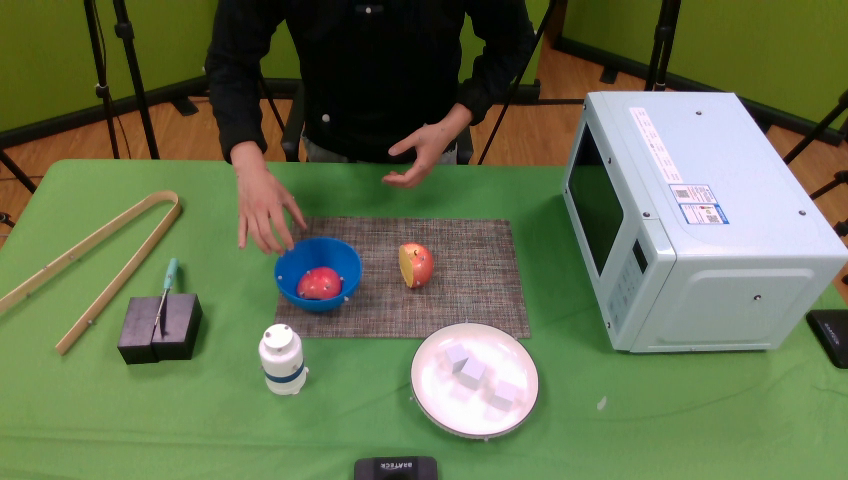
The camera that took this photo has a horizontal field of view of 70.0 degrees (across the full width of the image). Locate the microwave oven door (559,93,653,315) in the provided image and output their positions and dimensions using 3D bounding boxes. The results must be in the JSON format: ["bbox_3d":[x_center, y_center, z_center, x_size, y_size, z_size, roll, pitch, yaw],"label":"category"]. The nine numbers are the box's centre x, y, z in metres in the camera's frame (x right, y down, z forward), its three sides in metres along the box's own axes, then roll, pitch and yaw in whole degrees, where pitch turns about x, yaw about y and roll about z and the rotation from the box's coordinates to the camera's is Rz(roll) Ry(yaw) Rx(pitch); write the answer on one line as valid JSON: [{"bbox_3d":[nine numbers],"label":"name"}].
[{"bbox_3d":[0.327,-0.074,1.123,0.039,0.245,0.353,-1,46,-5],"label":"microwave oven door"}]

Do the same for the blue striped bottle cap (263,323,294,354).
[{"bbox_3d":[-0.217,0.146,0.900,0.044,0.021,0.044,1,46,-1],"label":"blue striped bottle cap"}]

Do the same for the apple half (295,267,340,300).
[{"bbox_3d":[-0.187,0.070,1.067,0.081,0.033,0.081,3,47,-3],"label":"apple half"}]

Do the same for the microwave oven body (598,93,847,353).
[{"bbox_3d":[0.475,-0.041,1.109,0.326,0.261,0.438,-1,45,-4],"label":"microwave oven body"}]

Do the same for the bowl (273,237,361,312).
[{"bbox_3d":[-0.186,0.075,1.070,0.151,0.077,0.150,3,45,-3],"label":"bowl"}]

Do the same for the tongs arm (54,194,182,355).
[{"bbox_3d":[-0.543,0.048,1.107,0.028,0.028,0.385,11,46,10],"label":"tongs arm"}]

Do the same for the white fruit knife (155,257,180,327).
[{"bbox_3d":[-0.440,0.085,1.037,0.016,0.027,0.206,11,26,-19],"label":"white fruit knife"}]

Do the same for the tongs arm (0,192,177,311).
[{"bbox_3d":[-0.618,0.019,1.124,0.050,0.026,0.384,24,47,16],"label":"tongs arm"}]

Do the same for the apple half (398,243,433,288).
[{"bbox_3d":[-0.012,0.046,1.115,0.053,0.075,0.080,-11,44,-19],"label":"apple half"}]

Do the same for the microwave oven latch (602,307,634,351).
[{"bbox_3d":[0.332,0.153,1.044,0.030,0.029,0.078,-1,45,-4],"label":"microwave oven latch"}]

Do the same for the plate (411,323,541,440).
[{"bbox_3d":[0.082,0.228,0.976,0.208,0.039,0.206,2,45,-2],"label":"plate"}]

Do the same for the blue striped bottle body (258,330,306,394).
[{"bbox_3d":[-0.220,0.182,0.937,0.063,0.121,0.062,2,46,-2],"label":"blue striped bottle body"}]
